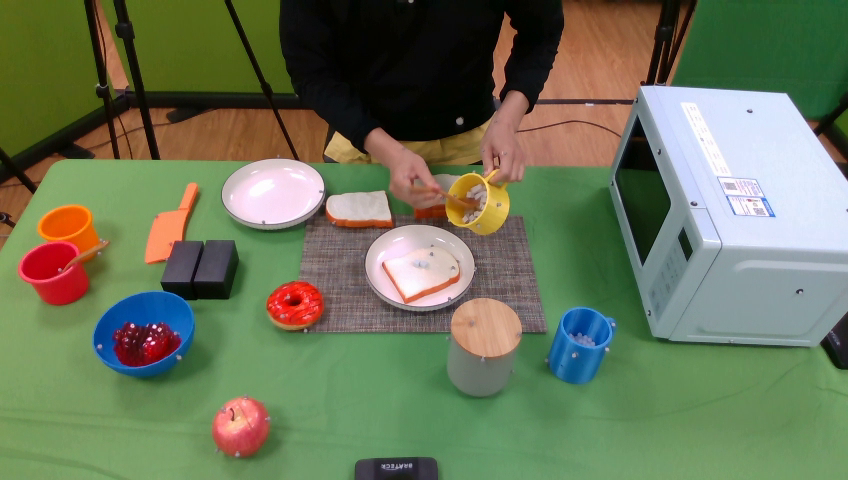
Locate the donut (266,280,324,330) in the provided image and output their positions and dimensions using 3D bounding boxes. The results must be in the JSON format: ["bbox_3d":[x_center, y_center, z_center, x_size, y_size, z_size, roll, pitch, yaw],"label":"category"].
[{"bbox_3d":[-0.223,0.112,1.051,0.099,0.048,0.098,2,46,-2],"label":"donut"}]

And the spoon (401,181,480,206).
[{"bbox_3d":[0.029,-0.083,1.052,0.195,0.021,0.041,14,10,-46],"label":"spoon"}]

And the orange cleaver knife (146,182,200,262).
[{"bbox_3d":[-0.494,-0.039,1.198,0.077,0.012,0.210,-3,48,2],"label":"orange cleaver knife"}]

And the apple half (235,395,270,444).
[{"bbox_3d":[-0.245,0.260,0.893,0.033,0.082,0.081,-29,55,-22],"label":"apple half"}]

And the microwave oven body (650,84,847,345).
[{"bbox_3d":[0.569,-0.054,1.116,0.326,0.261,0.439,2,46,-1],"label":"microwave oven body"}]

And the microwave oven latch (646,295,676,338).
[{"bbox_3d":[0.413,0.133,1.060,0.030,0.029,0.078,4,46,1],"label":"microwave oven latch"}]

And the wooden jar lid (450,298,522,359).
[{"bbox_3d":[0.093,0.135,0.914,0.108,0.021,0.107,3,48,-3],"label":"wooden jar lid"}]

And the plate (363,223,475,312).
[{"bbox_3d":[-0.009,0.054,1.126,0.208,0.039,0.206,2,46,-2],"label":"plate"}]

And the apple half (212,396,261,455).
[{"bbox_3d":[-0.276,0.276,0.877,0.053,0.075,0.080,-29,58,-21],"label":"apple half"}]

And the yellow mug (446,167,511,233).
[{"bbox_3d":[0.106,-0.079,1.087,0.064,0.131,0.099,17,28,-46],"label":"yellow mug"}]

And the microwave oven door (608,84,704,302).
[{"bbox_3d":[0.424,-0.096,1.138,0.039,0.245,0.353,2,47,-1],"label":"microwave oven door"}]

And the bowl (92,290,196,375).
[{"bbox_3d":[-0.436,0.161,0.971,0.151,0.077,0.150,2,46,-2],"label":"bowl"}]

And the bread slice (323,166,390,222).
[{"bbox_3d":[-0.140,-0.092,1.224,0.134,0.018,0.106,-19,51,6],"label":"bread slice"}]

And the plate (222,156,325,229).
[{"bbox_3d":[-0.308,-0.094,1.251,0.209,0.038,0.208,2,46,-2],"label":"plate"}]

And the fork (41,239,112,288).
[{"bbox_3d":[-0.591,0.040,1.028,0.207,0.019,0.028,-27,37,29],"label":"fork"}]

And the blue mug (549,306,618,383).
[{"bbox_3d":[0.269,0.167,0.997,0.116,0.106,0.082,-19,50,-21],"label":"blue mug"}]

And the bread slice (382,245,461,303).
[{"bbox_3d":[0.000,0.054,1.128,0.132,0.019,0.104,-20,51,-21],"label":"bread slice"}]

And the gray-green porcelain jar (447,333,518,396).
[{"bbox_3d":[0.091,0.178,0.960,0.106,0.127,0.105,2,46,-2],"label":"gray-green porcelain jar"}]
